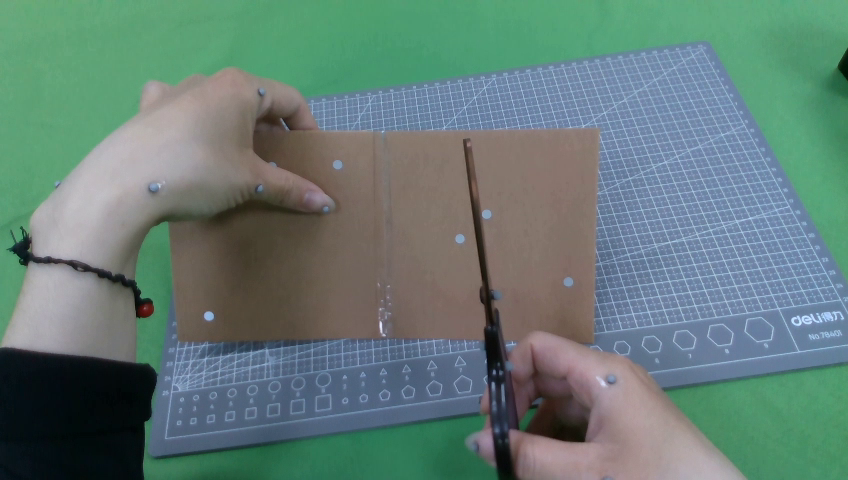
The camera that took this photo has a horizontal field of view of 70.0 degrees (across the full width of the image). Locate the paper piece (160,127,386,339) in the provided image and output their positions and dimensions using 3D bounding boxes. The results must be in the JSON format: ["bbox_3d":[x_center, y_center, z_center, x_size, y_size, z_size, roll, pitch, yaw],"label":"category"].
[{"bbox_3d":[-0.094,-0.003,0.386,0.138,0.008,0.136,0,96,-3],"label":"paper piece"}]

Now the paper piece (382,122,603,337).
[{"bbox_3d":[0.040,-0.005,0.379,0.135,0.004,0.135,1,97,6],"label":"paper piece"}]

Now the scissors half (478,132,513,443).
[{"bbox_3d":[0.034,0.031,0.300,0.013,0.176,0.039,-2,31,11],"label":"scissors half"}]

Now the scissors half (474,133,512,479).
[{"bbox_3d":[0.032,0.039,0.281,0.013,0.176,0.040,-4,14,6],"label":"scissors half"}]
